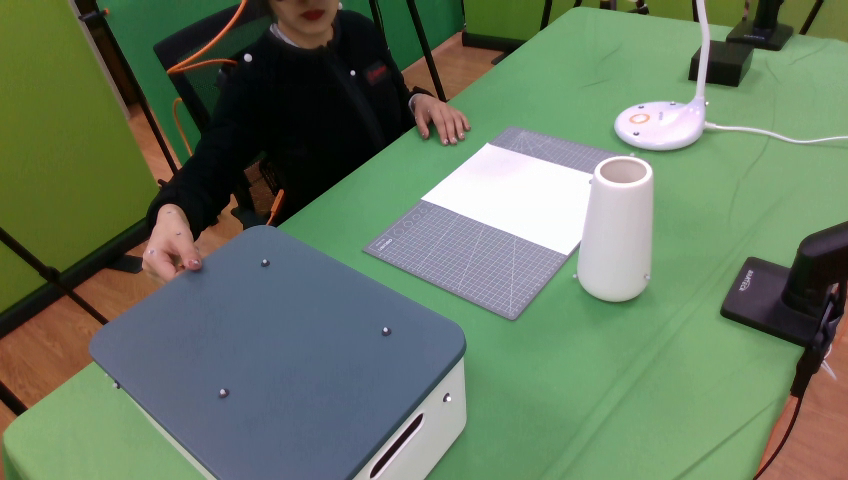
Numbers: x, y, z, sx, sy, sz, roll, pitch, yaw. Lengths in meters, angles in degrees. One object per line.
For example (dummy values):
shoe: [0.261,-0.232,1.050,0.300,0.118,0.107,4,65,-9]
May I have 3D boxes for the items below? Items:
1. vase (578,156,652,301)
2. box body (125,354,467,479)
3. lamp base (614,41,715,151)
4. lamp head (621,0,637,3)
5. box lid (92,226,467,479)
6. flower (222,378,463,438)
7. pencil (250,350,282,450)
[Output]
vase: [0.261,-0.011,0.812,0.098,0.201,0.097,-4,40,4]
box body: [-0.155,0.169,0.707,0.361,0.161,0.255,23,49,33]
lamp base: [0.449,-0.277,1.106,0.179,0.181,0.160,1,41,9]
lamp head: [0.319,-0.453,0.962,0.113,0.123,0.112,20,33,-13]
box lid: [-0.167,0.110,0.661,0.368,0.015,0.264,24,50,33]
flower: [-0.120,0.203,0.774,0.359,0.038,0.044,2,77,25]
pencil: [-0.212,0.203,0.798,0.012,0.012,0.192,-21,36,-14]
